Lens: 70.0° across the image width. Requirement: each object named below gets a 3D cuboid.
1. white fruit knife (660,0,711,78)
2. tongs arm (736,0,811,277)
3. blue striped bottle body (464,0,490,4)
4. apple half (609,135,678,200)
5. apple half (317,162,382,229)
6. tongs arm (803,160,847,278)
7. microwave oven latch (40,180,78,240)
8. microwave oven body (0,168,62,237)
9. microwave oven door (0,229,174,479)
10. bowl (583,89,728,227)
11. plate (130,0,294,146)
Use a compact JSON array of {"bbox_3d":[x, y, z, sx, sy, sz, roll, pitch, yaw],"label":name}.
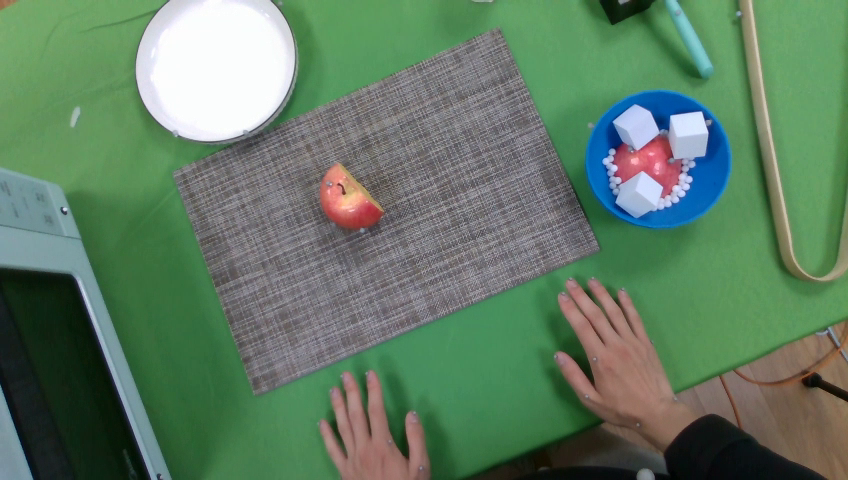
[{"bbox_3d":[0.274,-0.277,0.693,0.016,0.027,0.208,-31,99,19],"label":"white fruit knife"},{"bbox_3d":[0.393,-0.148,0.697,0.028,0.028,0.386,-6,84,2],"label":"tongs arm"},{"bbox_3d":[0.062,-0.332,0.701,0.063,0.121,0.063,-1,83,6],"label":"blue striped bottle body"},{"bbox_3d":[0.250,-0.084,0.677,0.081,0.033,0.081,-1,84,8],"label":"apple half"},{"bbox_3d":[-0.093,-0.044,0.709,0.053,0.075,0.080,-44,85,6],"label":"apple half"},{"bbox_3d":[0.474,-0.146,0.687,0.050,0.026,0.384,7,86,6],"label":"tongs arm"},{"bbox_3d":[-0.459,-0.033,0.747,0.030,0.029,0.079,-26,83,2],"label":"microwave oven latch"},{"bbox_3d":[-0.531,0.178,0.635,0.326,0.261,0.440,-25,83,2],"label":"microwave oven body"},{"bbox_3d":[-0.381,0.153,0.619,0.039,0.244,0.354,-26,82,3],"label":"microwave oven door"},{"bbox_3d":[0.250,-0.084,0.681,0.151,0.077,0.151,-1,84,6],"label":"bowl"},{"bbox_3d":[-0.262,-0.216,0.764,0.207,0.039,0.207,0,84,5],"label":"plate"}]
